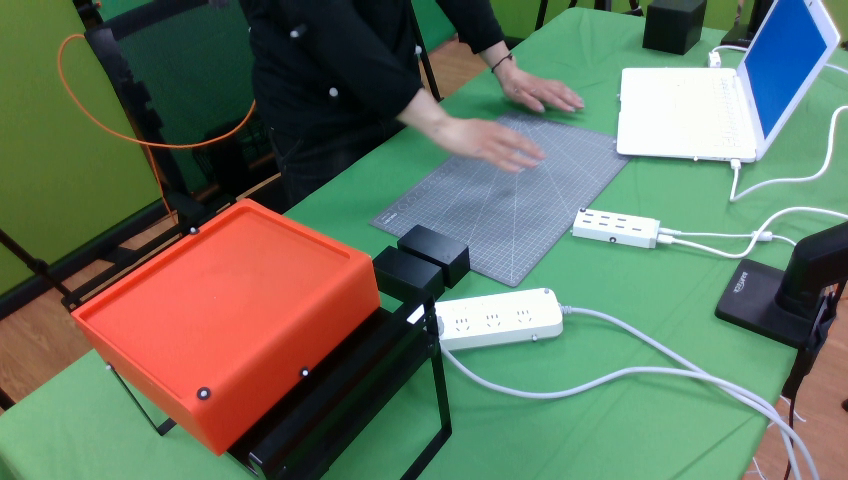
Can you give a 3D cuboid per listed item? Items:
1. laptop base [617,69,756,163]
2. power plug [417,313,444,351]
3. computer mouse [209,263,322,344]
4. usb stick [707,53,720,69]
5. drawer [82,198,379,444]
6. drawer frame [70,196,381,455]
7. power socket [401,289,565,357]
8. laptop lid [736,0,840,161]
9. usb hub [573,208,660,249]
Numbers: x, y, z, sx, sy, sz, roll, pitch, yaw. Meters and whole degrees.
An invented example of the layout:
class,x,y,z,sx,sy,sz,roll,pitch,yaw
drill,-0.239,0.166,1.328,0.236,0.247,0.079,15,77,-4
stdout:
class,x,y,z,sx,sy,sz,roll,pitch,yaw
laptop base,0.509,-0.255,1.201,0.234,0.023,0.353,4,41,16
power plug,0.007,0.127,0.786,0.035,0.053,0.072,0,43,8
computer mouse,-0.165,0.062,0.624,0.116,0.041,0.063,23,44,27
usb stick,0.629,-0.382,1.313,0.021,0.027,0.059,2,46,17
drawer,-0.185,0.065,0.600,0.193,0.073,0.212,24,50,31
drawer frame,-0.186,0.068,0.597,0.200,0.083,0.214,23,49,30
power socket,0.080,0.112,0.822,0.227,0.033,0.072,-7,41,-1
laptop lid,0.641,-0.327,1.090,0.013,0.242,0.356,17,43,5
usb hub,0.302,-0.019,0.949,0.124,0.025,0.049,11,43,20
